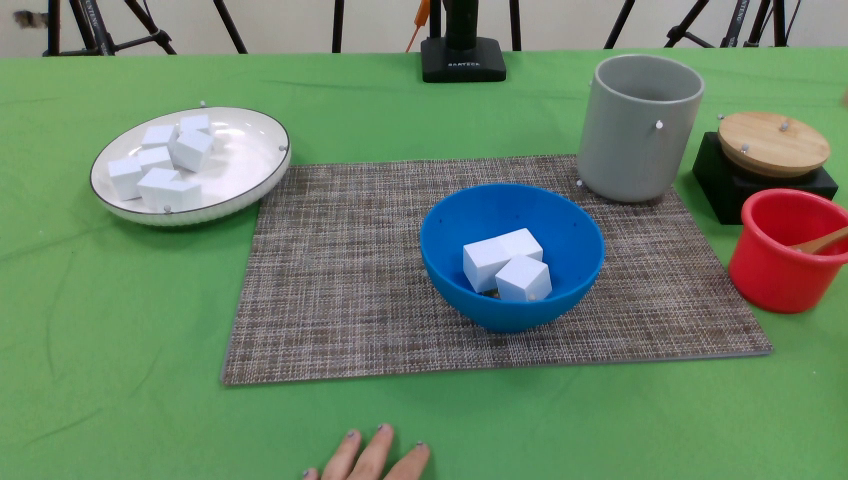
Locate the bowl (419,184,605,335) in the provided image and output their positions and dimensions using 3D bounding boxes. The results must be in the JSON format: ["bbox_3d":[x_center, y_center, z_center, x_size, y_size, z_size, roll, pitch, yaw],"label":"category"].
[{"bbox_3d":[0.070,0.028,0.516,0.151,0.077,0.150,0,42,0],"label":"bowl"}]

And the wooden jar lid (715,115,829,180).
[{"bbox_3d":[0.360,-0.097,0.633,0.108,0.021,0.107,0,41,1],"label":"wooden jar lid"}]

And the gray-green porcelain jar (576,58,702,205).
[{"bbox_3d":[0.218,-0.109,0.635,0.106,0.127,0.105,0,42,0],"label":"gray-green porcelain jar"}]

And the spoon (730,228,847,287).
[{"bbox_3d":[0.358,-0.003,0.508,0.022,0.193,0.041,43,39,-22],"label":"spoon"}]

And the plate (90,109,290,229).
[{"bbox_3d":[-0.250,-0.077,0.665,0.209,0.038,0.207,0,42,1],"label":"plate"}]
